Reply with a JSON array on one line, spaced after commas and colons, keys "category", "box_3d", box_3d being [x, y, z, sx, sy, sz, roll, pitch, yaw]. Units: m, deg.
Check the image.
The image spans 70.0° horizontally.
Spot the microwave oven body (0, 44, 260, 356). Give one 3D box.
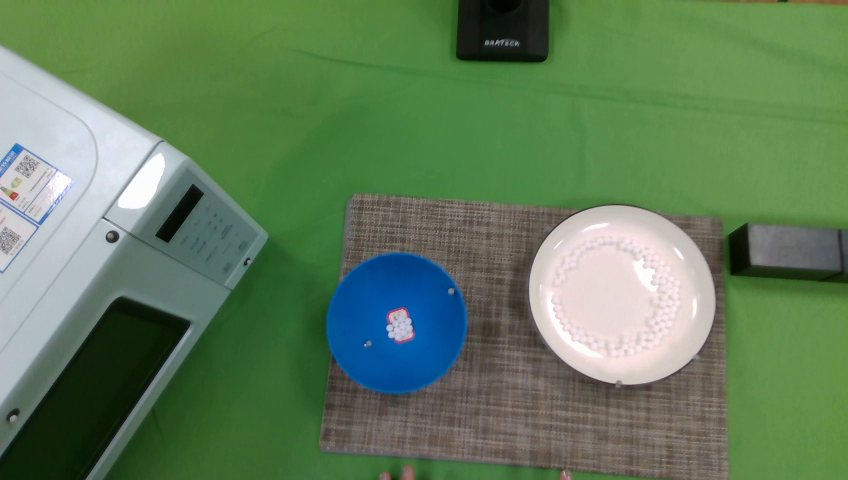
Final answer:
[{"category": "microwave oven body", "box_3d": [-0.438, 0.060, 0.601, 0.325, 0.261, 0.440, 30, 79, 9]}]

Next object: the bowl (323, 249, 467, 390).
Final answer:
[{"category": "bowl", "box_3d": [-0.030, 0.092, 0.673, 0.151, 0.077, 0.150, 0, 75, 2]}]

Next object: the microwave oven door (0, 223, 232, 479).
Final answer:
[{"category": "microwave oven door", "box_3d": [-0.334, 0.165, 0.565, 0.039, 0.245, 0.355, 29, 78, 10]}]

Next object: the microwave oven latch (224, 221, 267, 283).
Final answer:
[{"category": "microwave oven latch", "box_3d": [-0.216, 0.010, 0.707, 0.030, 0.029, 0.079, 31, 79, 9]}]

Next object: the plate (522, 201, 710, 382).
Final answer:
[{"category": "plate", "box_3d": [0.215, 0.059, 0.694, 0.207, 0.039, 0.206, 0, 75, 2]}]
